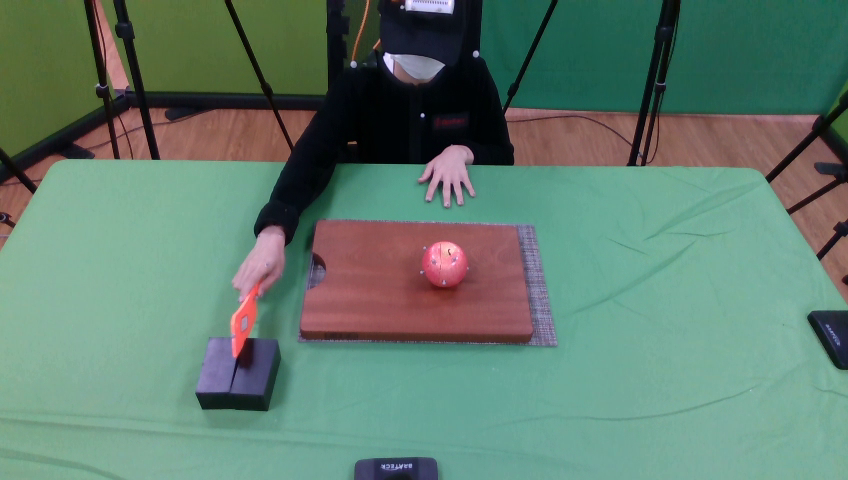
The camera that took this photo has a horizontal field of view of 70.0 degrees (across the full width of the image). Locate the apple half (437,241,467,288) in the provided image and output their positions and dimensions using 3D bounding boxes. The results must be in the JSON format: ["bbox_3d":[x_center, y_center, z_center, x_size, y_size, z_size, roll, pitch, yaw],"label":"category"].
[{"bbox_3d":[0.049,0.047,1.083,0.053,0.075,0.080,3,41,-6],"label":"apple half"}]

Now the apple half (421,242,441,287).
[{"bbox_3d":[0.010,0.045,1.079,0.033,0.081,0.081,3,45,-6],"label":"apple half"}]

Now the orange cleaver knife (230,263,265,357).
[{"bbox_3d":[-0.292,0.111,1.008,0.012,0.077,0.210,2,27,-1],"label":"orange cleaver knife"}]
